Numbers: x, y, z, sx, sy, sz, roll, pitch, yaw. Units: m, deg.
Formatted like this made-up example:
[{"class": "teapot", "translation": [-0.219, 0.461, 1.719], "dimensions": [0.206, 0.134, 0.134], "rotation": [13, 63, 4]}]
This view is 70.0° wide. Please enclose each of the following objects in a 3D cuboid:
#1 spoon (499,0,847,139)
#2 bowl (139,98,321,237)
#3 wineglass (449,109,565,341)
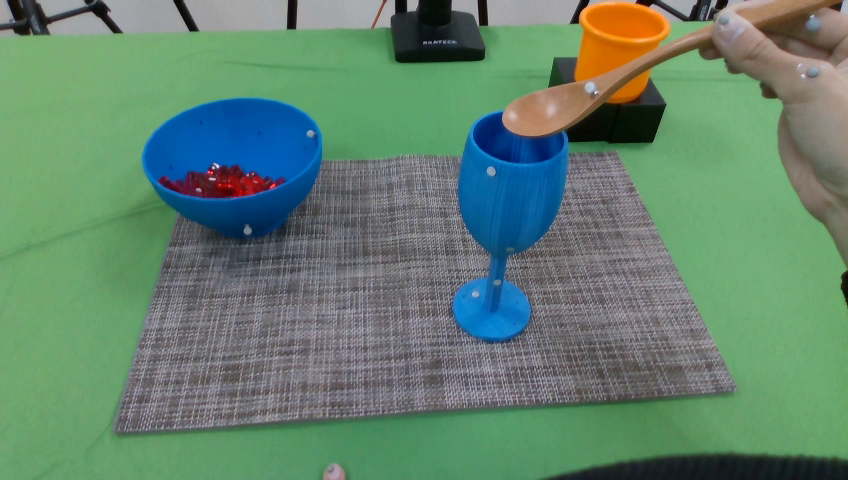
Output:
[{"class": "spoon", "translation": [0.129, -0.097, 0.328], "dimensions": [0.193, 0.022, 0.041], "rotation": [-19, 46, 34]}, {"class": "bowl", "translation": [-0.167, -0.056, 0.549], "dimensions": [0.151, 0.077, 0.150], "rotation": [1, 45, -1]}, {"class": "wineglass", "translation": [0.055, -0.004, 0.440], "dimensions": [0.074, 0.174, 0.073], "rotation": [1, 45, -1]}]
